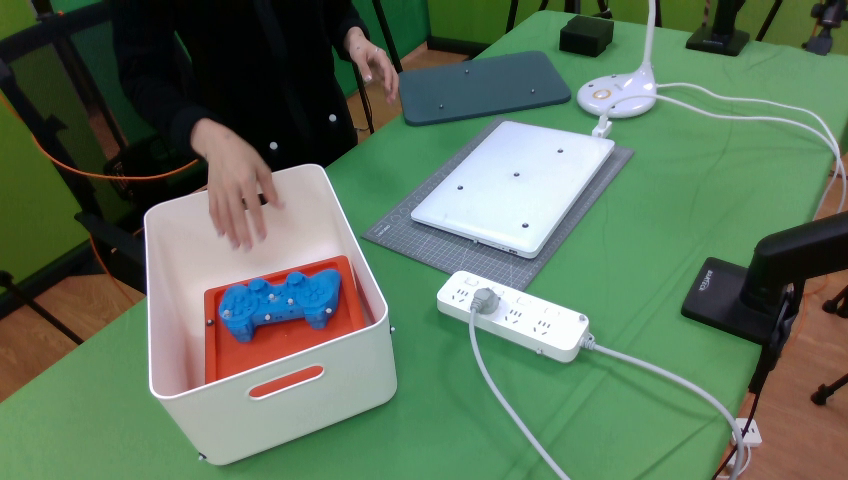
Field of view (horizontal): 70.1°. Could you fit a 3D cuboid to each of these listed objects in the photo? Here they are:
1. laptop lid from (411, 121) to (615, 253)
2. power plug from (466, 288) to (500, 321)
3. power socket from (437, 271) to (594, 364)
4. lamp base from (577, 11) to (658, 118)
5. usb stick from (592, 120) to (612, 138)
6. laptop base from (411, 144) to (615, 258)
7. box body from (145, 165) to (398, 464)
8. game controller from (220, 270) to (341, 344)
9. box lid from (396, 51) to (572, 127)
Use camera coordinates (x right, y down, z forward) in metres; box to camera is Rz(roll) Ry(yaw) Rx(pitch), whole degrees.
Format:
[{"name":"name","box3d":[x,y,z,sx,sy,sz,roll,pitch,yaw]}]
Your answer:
[{"name":"laptop lid","box3d":[0.164,-0.112,1.068,0.240,0.013,0.357,19,46,31]},{"name":"power plug","box3d":[0.072,0.093,0.813,0.035,0.053,0.073,30,54,35]},{"name":"power socket","box3d":[0.118,0.102,0.830,0.225,0.033,0.072,20,48,28]},{"name":"lamp base","box3d":[0.406,-0.363,1.223,0.180,0.181,0.159,-20,42,-18]},{"name":"usb stick","box3d":[0.335,-0.203,1.149,0.021,0.027,0.059,25,53,26]},{"name":"laptop base","box3d":[0.167,-0.102,1.074,0.234,0.023,0.355,16,45,30]},{"name":"box body","box3d":[-0.205,0.080,0.802,0.255,0.161,0.361,-18,41,-13]},{"name":"game controller","box3d":[-0.186,0.076,0.778,0.155,0.052,0.096,-9,45,-2]},{"name":"box lid","box3d":[0.128,-0.350,1.380,0.372,0.015,0.261,-10,41,-2]}]
